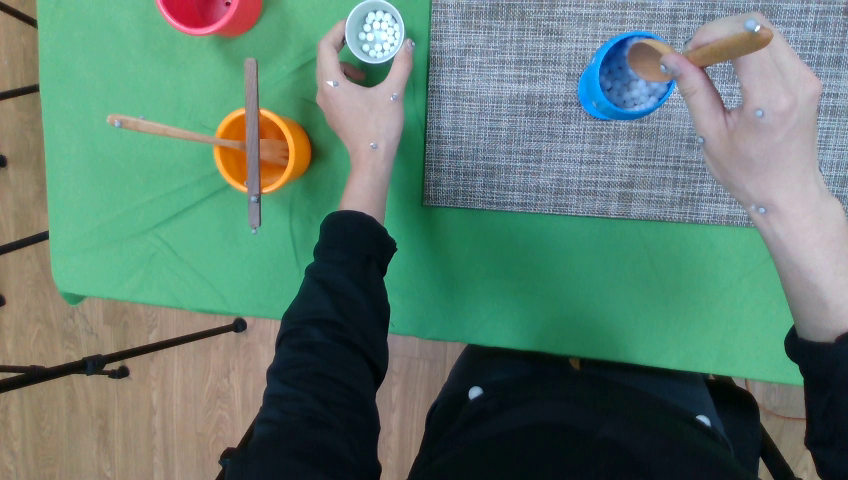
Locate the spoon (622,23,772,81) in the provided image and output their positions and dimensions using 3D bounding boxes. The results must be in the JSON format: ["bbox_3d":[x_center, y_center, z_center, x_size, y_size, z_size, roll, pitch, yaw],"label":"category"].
[{"bbox_3d":[0.171,-0.120,0.396,0.042,0.193,0.021,43,102,-9],"label":"spoon"}]

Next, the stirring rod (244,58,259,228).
[{"bbox_3d":[-0.182,-0.100,0.638,0.014,0.006,0.176,4,101,9],"label":"stirring rod"}]

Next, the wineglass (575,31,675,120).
[{"bbox_3d":[0.178,-0.146,0.557,0.073,0.172,0.074,2,101,9],"label":"wineglass"}]

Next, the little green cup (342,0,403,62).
[{"bbox_3d":[-0.051,-0.214,0.628,0.061,0.038,0.062,2,101,9],"label":"little green cup"}]

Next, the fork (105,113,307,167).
[{"bbox_3d":[-0.223,-0.107,0.645,0.209,0.018,0.028,7,113,-37],"label":"fork"}]
